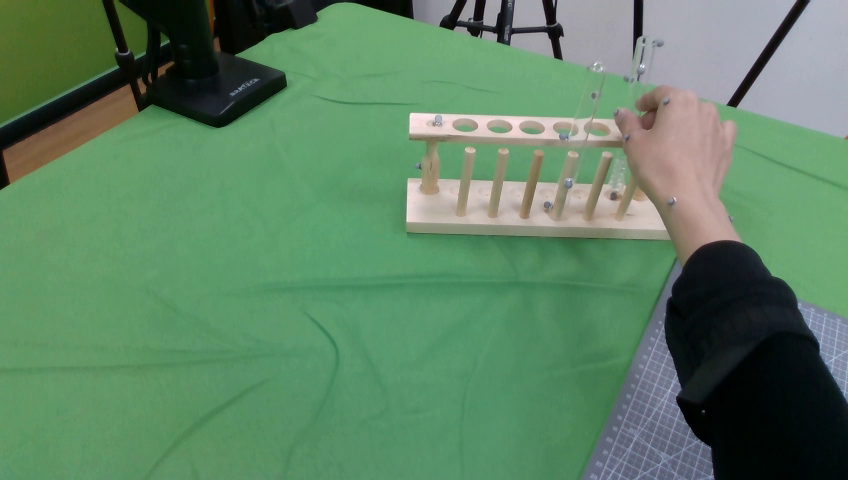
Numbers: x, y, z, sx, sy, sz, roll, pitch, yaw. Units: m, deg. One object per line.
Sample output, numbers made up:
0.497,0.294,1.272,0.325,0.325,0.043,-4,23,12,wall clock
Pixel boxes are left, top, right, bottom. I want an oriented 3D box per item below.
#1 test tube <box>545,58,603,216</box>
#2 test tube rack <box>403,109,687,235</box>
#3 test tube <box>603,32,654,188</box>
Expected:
0.122,-0.080,0.501,0.017,0.152,0.017,3,44,-2,test tube
0.104,-0.060,0.543,0.242,0.086,0.066,2,43,-3,test tube rack
0.174,-0.106,0.524,0.017,0.151,0.017,-1,44,2,test tube
